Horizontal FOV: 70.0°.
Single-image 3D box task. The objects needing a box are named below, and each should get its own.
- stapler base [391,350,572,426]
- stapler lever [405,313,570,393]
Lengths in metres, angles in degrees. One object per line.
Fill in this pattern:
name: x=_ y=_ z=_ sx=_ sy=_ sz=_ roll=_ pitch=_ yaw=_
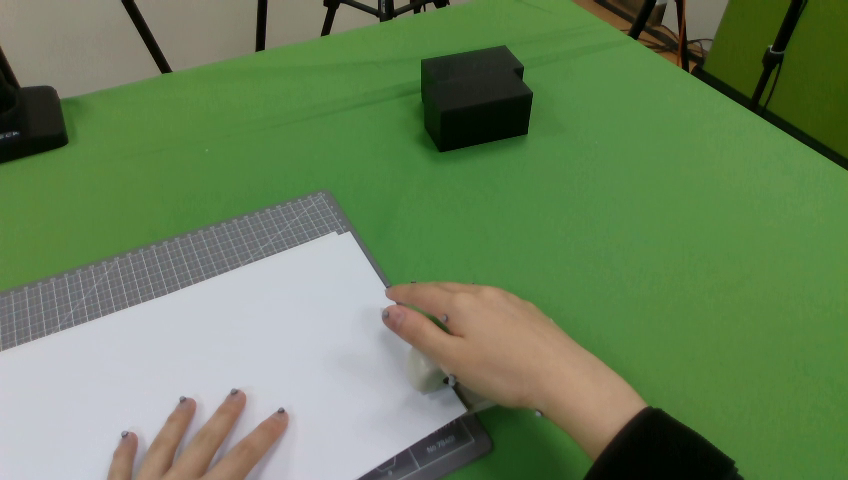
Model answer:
stapler base: x=0.042 y=0.089 z=0.422 sx=0.131 sy=0.024 sz=0.041 roll=-14 pitch=49 yaw=-19
stapler lever: x=0.044 y=0.071 z=0.406 sx=0.118 sy=0.040 sz=0.026 roll=-15 pitch=49 yaw=-18
